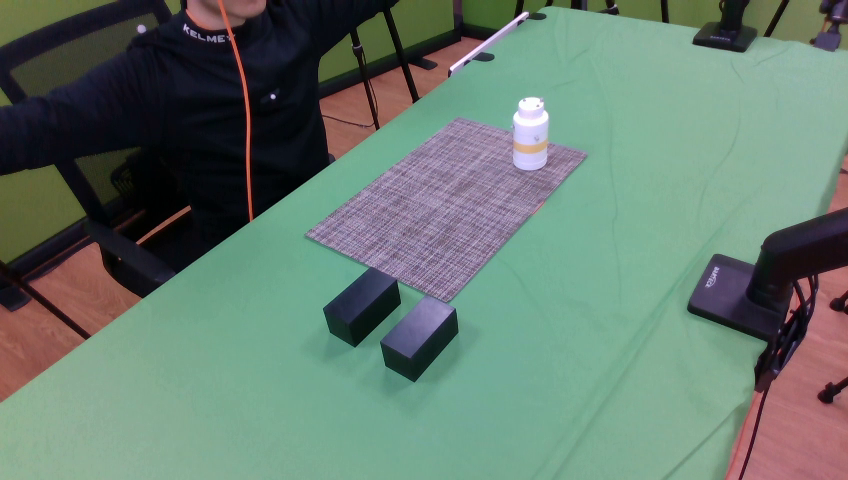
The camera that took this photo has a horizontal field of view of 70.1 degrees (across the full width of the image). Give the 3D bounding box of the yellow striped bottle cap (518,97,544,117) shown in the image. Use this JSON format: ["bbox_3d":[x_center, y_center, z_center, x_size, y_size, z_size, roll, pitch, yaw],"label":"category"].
[{"bbox_3d":[0.185,-0.230,1.047,0.044,0.019,0.044,-2,40,3],"label":"yellow striped bottle cap"}]

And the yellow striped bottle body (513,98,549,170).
[{"bbox_3d":[0.191,-0.192,1.082,0.063,0.121,0.062,-4,41,4],"label":"yellow striped bottle body"}]
